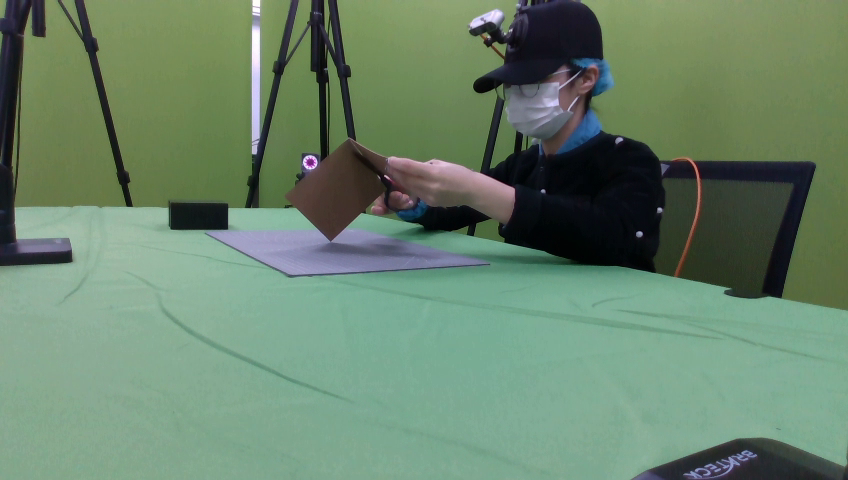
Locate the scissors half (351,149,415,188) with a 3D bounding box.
[{"bbox_3d":[-0.066,-0.125,1.020,0.013,0.040,0.176,12,-2,34],"label":"scissors half"}]

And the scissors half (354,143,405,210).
[{"bbox_3d":[-0.075,-0.105,1.015,0.012,0.040,0.176,18,-26,36],"label":"scissors half"}]

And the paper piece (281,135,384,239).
[{"bbox_3d":[-0.141,-0.082,0.976,0.004,0.136,0.136,41,-6,42],"label":"paper piece"}]

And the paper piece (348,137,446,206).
[{"bbox_3d":[-0.041,-0.106,0.939,0.137,0.008,0.137,36,4,39],"label":"paper piece"}]
